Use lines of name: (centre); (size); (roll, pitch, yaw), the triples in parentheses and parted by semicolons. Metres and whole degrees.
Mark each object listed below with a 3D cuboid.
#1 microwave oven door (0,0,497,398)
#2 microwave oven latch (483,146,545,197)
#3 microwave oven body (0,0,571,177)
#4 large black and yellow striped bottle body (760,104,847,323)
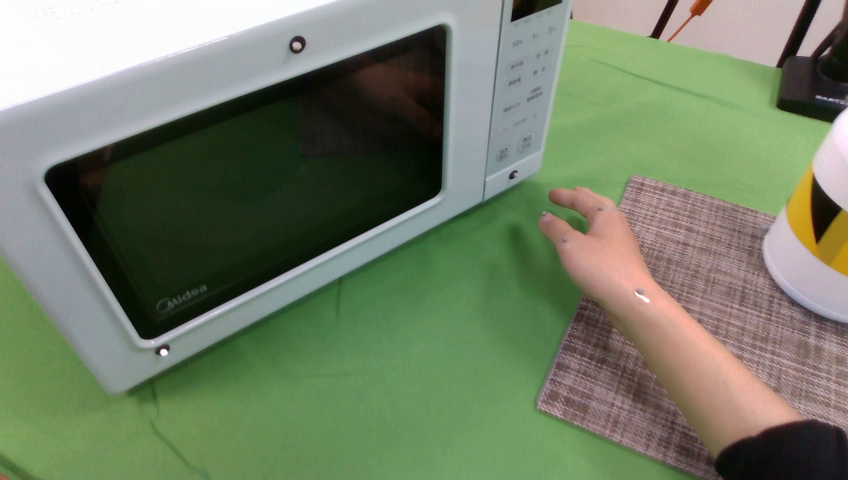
microwave oven door: (-0.096, -0.048, 0.437); (0.356, 0.246, 0.039); (-29, 53, -24)
microwave oven latch: (0.082, -0.073, 0.600); (0.079, 0.030, 0.030); (-27, 54, -22)
microwave oven body: (-0.149, -0.148, 0.536); (0.442, 0.262, 0.322); (-29, 54, -23)
large black and yellow striped bottle body: (0.371, -0.034, 0.484); (0.131, 0.185, 0.129); (0, 47, 0)
